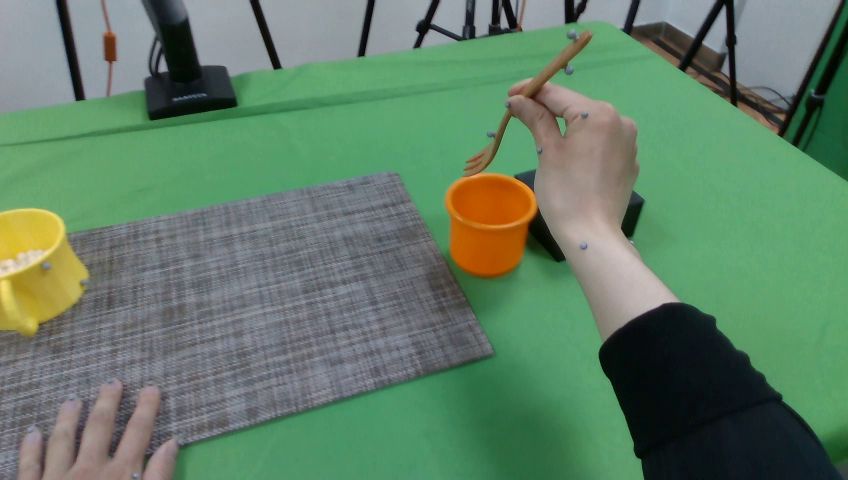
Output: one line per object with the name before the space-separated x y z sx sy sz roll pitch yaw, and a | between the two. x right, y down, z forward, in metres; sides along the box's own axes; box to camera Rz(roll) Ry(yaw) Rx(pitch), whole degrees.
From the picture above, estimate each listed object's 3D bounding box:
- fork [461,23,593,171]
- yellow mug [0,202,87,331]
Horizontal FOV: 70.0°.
fork | 0.073 -0.106 0.487 0.019 0.208 0.028 23 65 -9
yellow mug | -0.373 0.030 0.557 0.100 0.064 0.129 -18 47 -20
